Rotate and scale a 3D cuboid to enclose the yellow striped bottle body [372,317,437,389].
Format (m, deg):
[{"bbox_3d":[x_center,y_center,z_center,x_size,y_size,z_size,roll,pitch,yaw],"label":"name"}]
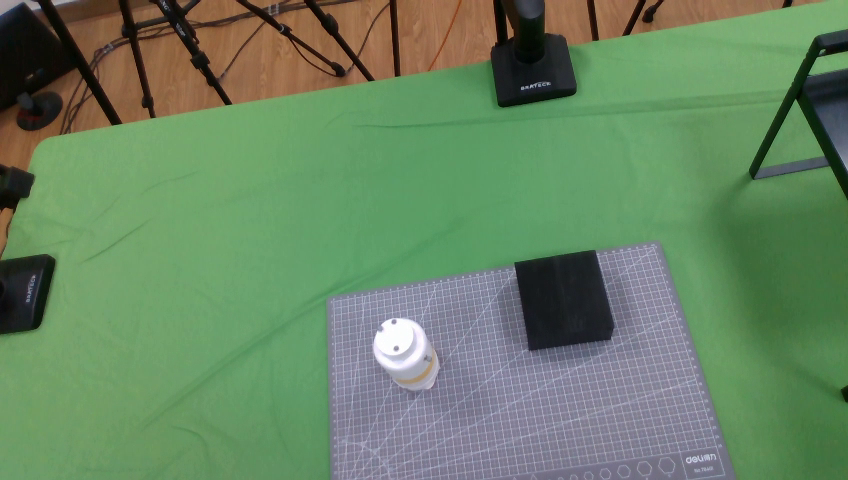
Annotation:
[{"bbox_3d":[-0.023,0.131,0.714,0.063,0.121,0.062,-4,63,9],"label":"yellow striped bottle body"}]

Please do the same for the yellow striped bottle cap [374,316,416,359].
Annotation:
[{"bbox_3d":[-0.032,0.107,0.668,0.044,0.019,0.044,-5,63,11],"label":"yellow striped bottle cap"}]
